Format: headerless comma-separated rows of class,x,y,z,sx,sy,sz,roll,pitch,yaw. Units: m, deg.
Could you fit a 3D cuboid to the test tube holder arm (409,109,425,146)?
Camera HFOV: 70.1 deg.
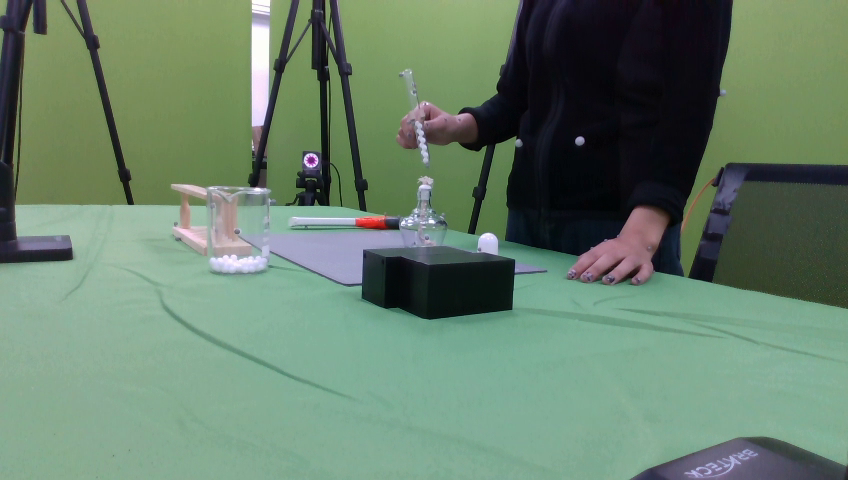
test tube holder arm,-0.010,-0.184,1.001,0.013,0.015,0.178,-8,-6,3

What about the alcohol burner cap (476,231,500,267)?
alcohol burner cap,0.088,0.012,0.830,0.034,0.048,0.034,2,7,0

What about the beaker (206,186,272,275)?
beaker,-0.220,-0.012,0.717,0.074,0.100,0.084,2,8,-3

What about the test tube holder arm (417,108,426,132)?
test tube holder arm,-0.006,-0.189,0.956,0.010,0.015,0.088,-8,-6,-5

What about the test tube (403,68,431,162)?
test tube,-0.011,-0.193,0.934,0.017,0.150,0.017,-12,-6,-1

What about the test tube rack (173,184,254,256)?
test tube rack,-0.328,-0.036,0.927,0.067,0.085,0.241,-2,9,-32

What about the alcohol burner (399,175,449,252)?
alcohol burner,0.000,-0.041,0.937,0.078,0.119,0.078,0,8,0

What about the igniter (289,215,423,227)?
igniter,-0.133,-0.038,1.232,0.278,0.025,0.057,-1,-2,-25
